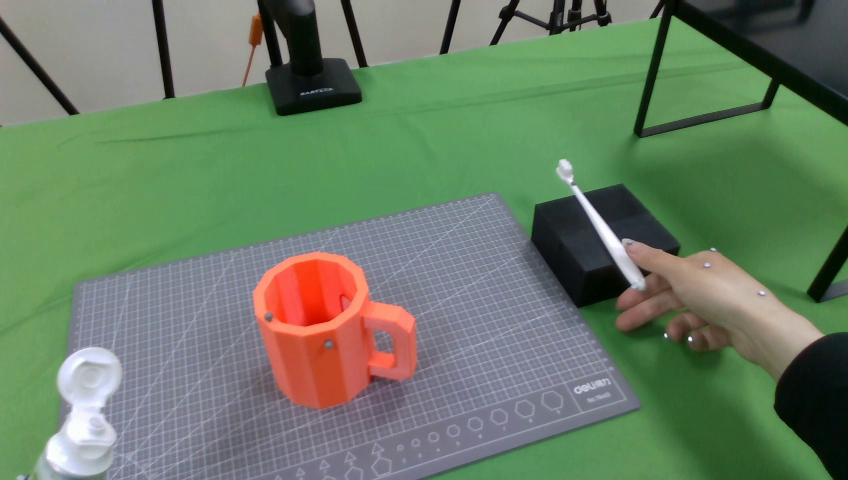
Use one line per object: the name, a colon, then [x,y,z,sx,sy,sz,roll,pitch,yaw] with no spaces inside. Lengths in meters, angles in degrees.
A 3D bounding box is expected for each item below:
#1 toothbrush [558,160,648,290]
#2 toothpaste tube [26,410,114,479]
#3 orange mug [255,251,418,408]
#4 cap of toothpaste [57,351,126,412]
toothbrush: [0.167,-0.021,0.577,0.014,0.017,0.180,-6,44,-12]
toothpaste tube: [-0.223,0.165,0.350,0.054,0.165,0.035,36,13,26]
orange mug: [-0.066,0.075,0.487,0.126,0.102,0.083,6,43,13]
cap of toothpaste: [-0.191,0.082,0.350,0.011,0.037,0.037,-2,32,49]
